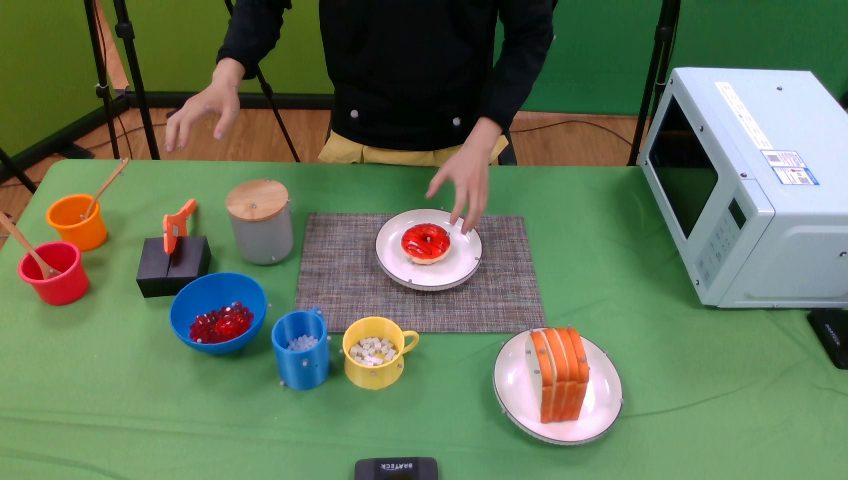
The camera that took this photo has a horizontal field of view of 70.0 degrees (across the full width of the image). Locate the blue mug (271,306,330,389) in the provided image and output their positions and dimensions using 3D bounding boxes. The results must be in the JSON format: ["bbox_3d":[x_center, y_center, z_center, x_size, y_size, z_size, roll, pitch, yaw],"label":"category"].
[{"bbox_3d":[-0.188,0.163,0.969,0.082,0.106,0.116,15,47,10],"label":"blue mug"}]

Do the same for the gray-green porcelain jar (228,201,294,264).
[{"bbox_3d":[-0.299,-0.027,1.126,0.106,0.127,0.105,2,46,-1],"label":"gray-green porcelain jar"}]

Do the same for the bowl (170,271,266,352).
[{"bbox_3d":[-0.333,0.132,1.006,0.151,0.077,0.150,2,46,-2],"label":"bowl"}]

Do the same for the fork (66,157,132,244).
[{"bbox_3d":[-0.608,-0.074,1.132,0.207,0.019,0.028,-52,50,10],"label":"fork"}]

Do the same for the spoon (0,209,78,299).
[{"bbox_3d":[-0.668,0.022,1.040,0.041,0.021,0.194,-41,105,-29],"label":"spoon"}]

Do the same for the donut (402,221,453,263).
[{"bbox_3d":[0.006,0.003,1.161,0.099,0.048,0.098,1,44,0],"label":"donut"}]

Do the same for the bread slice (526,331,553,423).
[{"bbox_3d":[0.176,0.202,0.929,0.019,0.132,0.104,-9,45,-1],"label":"bread slice"}]

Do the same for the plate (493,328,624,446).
[{"bbox_3d":[0.213,0.236,0.974,0.208,0.039,0.206,2,46,-2],"label":"plate"}]

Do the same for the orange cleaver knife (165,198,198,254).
[{"bbox_3d":[-0.458,-0.031,1.149,0.012,0.077,0.210,-2,17,-6],"label":"orange cleaver knife"}]

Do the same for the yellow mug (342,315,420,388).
[{"bbox_3d":[-0.068,0.177,0.991,0.131,0.064,0.099,-15,50,-19],"label":"yellow mug"}]

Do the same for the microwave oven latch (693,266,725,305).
[{"bbox_3d":[0.523,0.082,1.115,0.030,0.029,0.078,3,46,0],"label":"microwave oven latch"}]

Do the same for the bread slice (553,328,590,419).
[{"bbox_3d":[0.226,0.201,0.932,0.018,0.135,0.106,-4,51,-4],"label":"bread slice"}]

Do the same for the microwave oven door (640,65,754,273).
[{"bbox_3d":[0.523,-0.147,1.193,0.039,0.245,0.353,0,47,-3],"label":"microwave oven door"}]

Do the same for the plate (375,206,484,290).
[{"bbox_3d":[0.009,0.019,1.161,0.209,0.038,0.208,2,47,-2],"label":"plate"}]

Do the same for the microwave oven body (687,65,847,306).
[{"bbox_3d":[0.669,-0.111,1.176,0.326,0.261,0.439,0,46,-3],"label":"microwave oven body"}]

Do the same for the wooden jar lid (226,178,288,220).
[{"bbox_3d":[-0.296,-0.070,1.081,0.108,0.021,0.107,1,45,-1],"label":"wooden jar lid"}]
